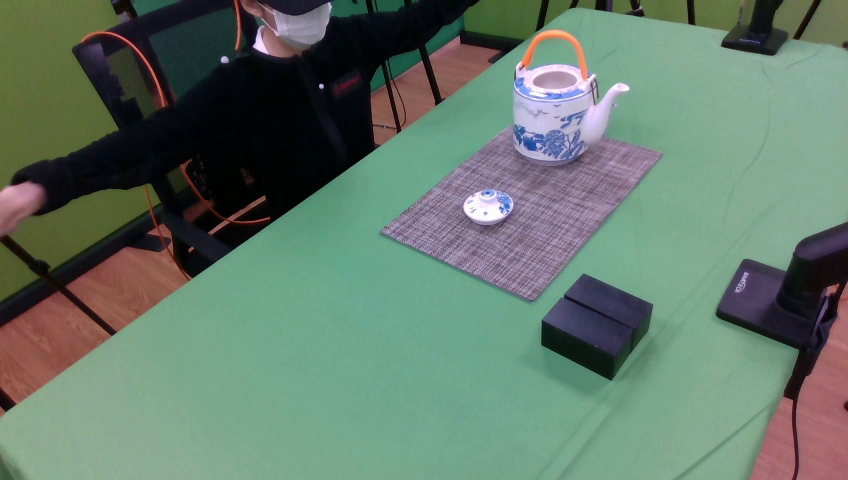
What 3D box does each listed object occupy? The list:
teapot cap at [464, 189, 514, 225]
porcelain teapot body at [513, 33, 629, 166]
[{"bbox_3d":[0.108,-0.061,1.009,0.085,0.044,0.085,-2,39,2],"label":"teapot cap"},{"bbox_3d":[0.256,-0.248,1.065,0.204,0.226,0.145,19,47,28],"label":"porcelain teapot body"}]
